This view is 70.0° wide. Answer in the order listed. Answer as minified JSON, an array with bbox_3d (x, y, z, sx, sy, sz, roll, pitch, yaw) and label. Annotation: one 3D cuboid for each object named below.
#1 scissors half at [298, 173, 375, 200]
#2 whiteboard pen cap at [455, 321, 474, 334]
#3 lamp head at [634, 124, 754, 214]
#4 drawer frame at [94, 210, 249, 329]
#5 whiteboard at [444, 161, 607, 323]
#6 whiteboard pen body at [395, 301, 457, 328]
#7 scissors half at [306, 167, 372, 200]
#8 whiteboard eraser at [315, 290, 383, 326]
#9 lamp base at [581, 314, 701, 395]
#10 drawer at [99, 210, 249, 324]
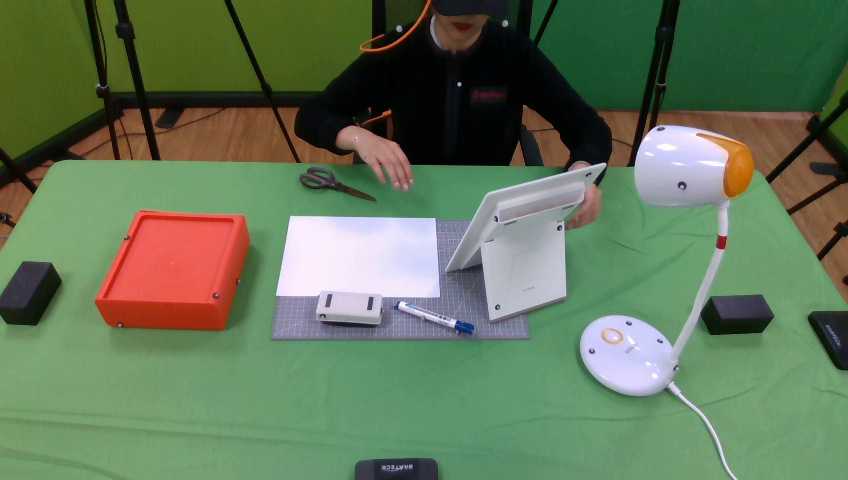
[{"bbox_3d":[-0.188,-0.110,1.296,0.175,0.013,0.040,15,42,6],"label":"scissors half"},{"bbox_3d":[0.069,0.151,1.046,0.033,0.018,0.018,14,47,16],"label":"whiteboard pen cap"},{"bbox_3d":[0.351,-0.089,0.775,0.112,0.113,0.122,-30,30,-28],"label":"lamp head"},{"bbox_3d":[-0.435,0.048,1.076,0.202,0.083,0.212,2,47,-3],"label":"drawer frame"},{"bbox_3d":[0.186,0.025,1.029,0.217,0.306,0.143,-14,68,-18],"label":"whiteboard"},{"bbox_3d":[0.015,0.134,1.064,0.140,0.017,0.017,17,47,16],"label":"whiteboard pen body"},{"bbox_3d":[-0.180,-0.121,1.311,0.174,0.013,0.040,27,39,18],"label":"scissors half"},{"bbox_3d":[-0.130,0.120,1.054,0.113,0.042,0.055,4,47,0],"label":"whiteboard eraser"},{"bbox_3d":[0.361,0.144,0.972,0.178,0.181,0.160,34,53,23],"label":"lamp base"},{"bbox_3d":[-0.435,0.044,1.081,0.194,0.073,0.210,3,47,-2],"label":"drawer"}]
